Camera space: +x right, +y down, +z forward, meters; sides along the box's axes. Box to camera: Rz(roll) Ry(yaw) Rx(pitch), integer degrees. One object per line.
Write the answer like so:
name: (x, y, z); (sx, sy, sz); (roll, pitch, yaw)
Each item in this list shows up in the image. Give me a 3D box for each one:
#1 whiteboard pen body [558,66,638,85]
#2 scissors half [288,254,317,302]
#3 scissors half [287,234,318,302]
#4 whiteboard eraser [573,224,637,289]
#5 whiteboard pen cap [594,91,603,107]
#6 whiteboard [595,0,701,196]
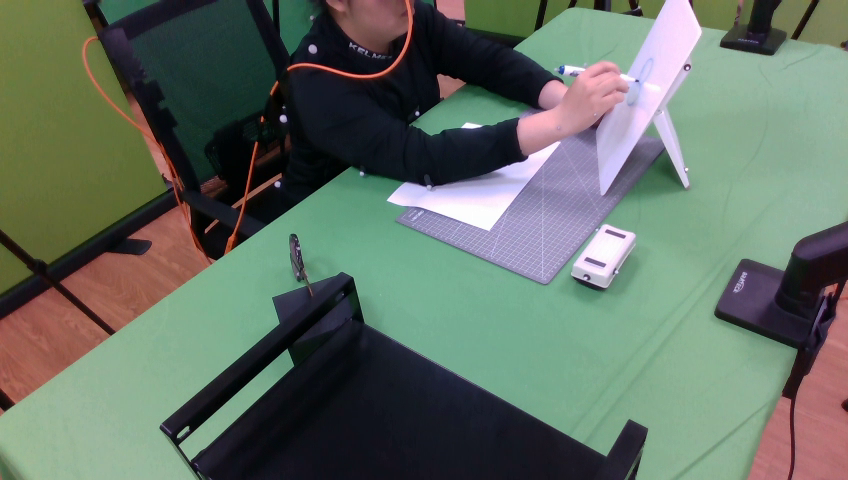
whiteboard pen body: (0.292, -0.273, 1.011); (0.141, 0.017, 0.017); (6, 39, -9)
scissors half: (-0.178, 0.058, 0.894); (0.013, 0.040, 0.174); (-16, 21, -18)
scissors half: (-0.178, 0.040, 0.885); (0.013, 0.040, 0.173); (-11, 37, -21)
whiteboard eraser: (0.267, 0.025, 0.891); (0.055, 0.042, 0.113); (19, 47, 31)
whiteboard pen cap: (0.364, -0.294, 1.262); (0.018, 0.033, 0.018); (-5, 41, 5)
whiteboard: (0.421, -0.227, 1.010); (0.144, 0.305, 0.216); (18, 42, -2)
